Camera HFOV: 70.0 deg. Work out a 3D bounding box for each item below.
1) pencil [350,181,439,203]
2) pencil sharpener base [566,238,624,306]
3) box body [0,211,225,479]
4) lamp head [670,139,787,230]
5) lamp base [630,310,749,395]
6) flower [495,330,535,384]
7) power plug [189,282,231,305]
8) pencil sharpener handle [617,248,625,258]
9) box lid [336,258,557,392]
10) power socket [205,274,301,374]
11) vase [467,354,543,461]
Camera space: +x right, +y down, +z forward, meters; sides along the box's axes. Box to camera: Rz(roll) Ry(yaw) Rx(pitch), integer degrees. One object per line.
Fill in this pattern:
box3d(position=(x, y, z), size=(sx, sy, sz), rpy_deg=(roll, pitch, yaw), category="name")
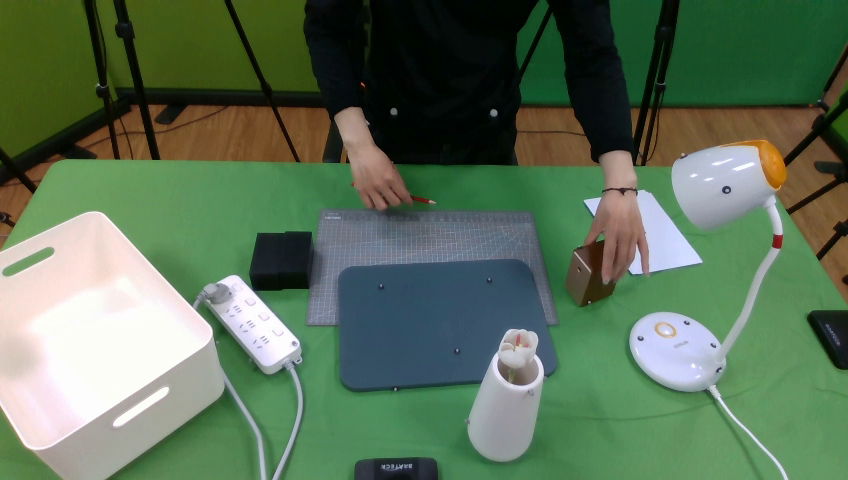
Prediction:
box3d(position=(-0.061, -0.096, 1.216), size=(0.193, 0.012, 0.012), rpy_deg=(14, 47, 18), category="pencil")
box3d(position=(0.311, 0.059, 1.102), size=(0.077, 0.107, 0.061), rpy_deg=(-18, 50, -16), category="pencil sharpener base")
box3d(position=(-0.504, 0.154, 0.916), size=(0.362, 0.161, 0.254), rpy_deg=(36, 54, 27), category="box body")
box3d(position=(0.415, -0.079, 0.812), size=(0.113, 0.123, 0.112), rpy_deg=(12, 70, -37), category="lamp head")
box3d(position=(0.447, 0.143, 0.984), size=(0.161, 0.181, 0.178), rpy_deg=(-24, 55, -24), category="lamp base")
box3d(position=(0.111, 0.187, 0.791), size=(0.044, 0.363, 0.038), rpy_deg=(-32, 65, -10), category="flower")
box3d(position=(-0.368, 0.097, 1.039), size=(0.072, 0.053, 0.035), rpy_deg=(-26, 55, -20), category="power plug")
box3d(position=(0.356, 0.033, 1.108), size=(0.031, 0.068, 0.036), rpy_deg=(-18, 63, -16), category="pencil sharpener handle")
box3d(position=(0.030, 0.140, 1.073), size=(0.372, 0.015, 0.261), rpy_deg=(-3, 47, -7), category="box lid")
box3d(position=(-0.296, 0.140, 1.035), size=(0.072, 0.033, 0.225), rpy_deg=(-32, 57, -29), category="power socket")
box3d(position=(0.116, 0.234, 0.861), size=(0.098, 0.201, 0.097), rpy_deg=(1, 47, -1), category="vase")
